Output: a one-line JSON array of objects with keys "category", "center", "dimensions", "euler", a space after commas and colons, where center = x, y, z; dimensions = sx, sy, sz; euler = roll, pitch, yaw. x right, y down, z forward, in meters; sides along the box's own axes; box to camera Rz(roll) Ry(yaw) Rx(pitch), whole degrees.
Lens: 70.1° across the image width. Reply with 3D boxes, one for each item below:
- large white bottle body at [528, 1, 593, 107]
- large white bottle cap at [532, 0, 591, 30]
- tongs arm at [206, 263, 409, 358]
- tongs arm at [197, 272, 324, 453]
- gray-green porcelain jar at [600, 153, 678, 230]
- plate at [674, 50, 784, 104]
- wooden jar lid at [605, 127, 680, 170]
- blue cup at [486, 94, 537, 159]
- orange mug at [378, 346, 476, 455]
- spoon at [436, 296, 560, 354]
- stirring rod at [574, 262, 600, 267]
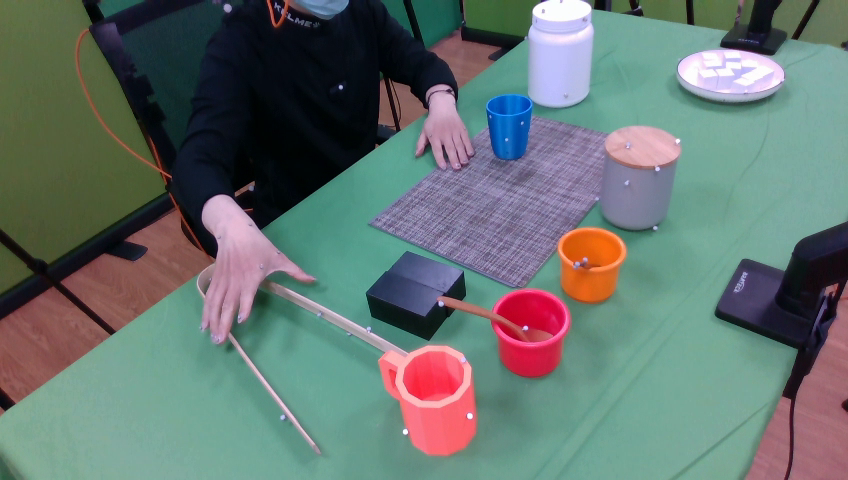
[{"category": "large white bottle body", "center": [0.283, -0.386, 1.259], "dimensions": [0.130, 0.185, 0.130], "euler": [-5, 41, 5]}, {"category": "large white bottle cap", "center": [0.274, -0.450, 1.204], "dimensions": [0.115, 0.018, 0.114], "euler": [-4, 41, 4]}, {"category": "tongs arm", "center": [-0.179, 0.106, 0.870], "dimensions": [0.382, 0.026, 0.051], "euler": [23, 54, 32]}, {"category": "tongs arm", "center": [-0.236, 0.154, 0.830], "dimensions": [0.028, 0.028, 0.384], "euler": [-37, 47, -18]}, {"category": "gray-green porcelain jar", "center": [0.334, -0.087, 0.949], "dimensions": [0.106, 0.127, 0.105], "euler": [-4, 40, 4]}, {"category": "plate", "center": [0.631, -0.336, 1.262], "dimensions": [0.207, 0.039, 0.206], "euler": [-4, 41, 4]}, {"category": "wooden jar lid", "center": [0.327, -0.134, 0.909], "dimensions": [0.108, 0.021, 0.108], "euler": [-2, 43, 2]}, {"category": "blue cup", "center": [0.160, -0.208, 1.129], "dimensions": [0.092, 0.100, 0.092], "euler": [-4, 39, 4]}, {"category": "orange mug", "center": [0.002, 0.179, 0.708], "dimensions": [0.125, 0.101, 0.083], "euler": [25, 50, 27]}, {"category": "spoon", "center": [0.095, 0.102, 0.750], "dimensions": [0.195, 0.021, 0.041], "euler": [28, 31, -28]}, {"category": "stirring rod", "center": [0.222, 0.033, 0.816], "dimensions": [0.014, 0.006, 0.177], "euler": [8, 1, 22]}]
